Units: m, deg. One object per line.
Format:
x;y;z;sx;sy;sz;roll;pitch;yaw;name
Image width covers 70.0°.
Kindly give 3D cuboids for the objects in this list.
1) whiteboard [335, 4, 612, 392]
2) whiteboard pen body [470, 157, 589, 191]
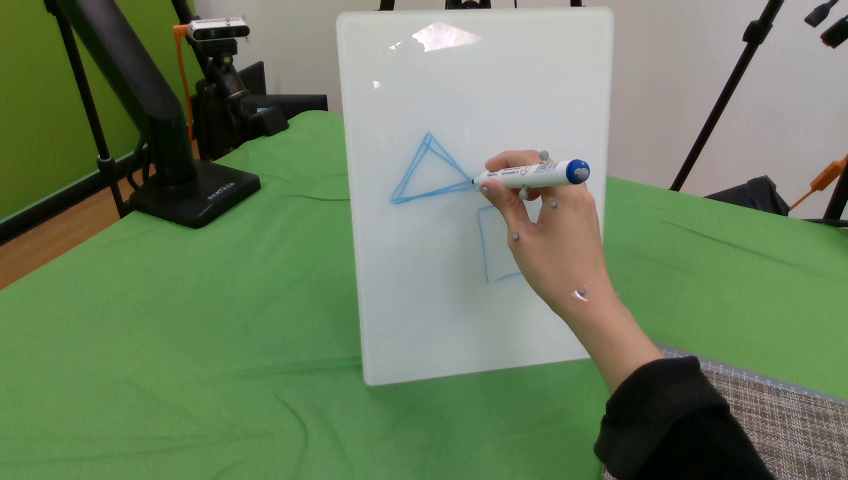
0.037;-0.044;0.558;0.218;0.307;0.143;-5;16;-9;whiteboard
0.066;-0.044;0.424;0.017;0.017;0.140;-15;8;-23;whiteboard pen body
